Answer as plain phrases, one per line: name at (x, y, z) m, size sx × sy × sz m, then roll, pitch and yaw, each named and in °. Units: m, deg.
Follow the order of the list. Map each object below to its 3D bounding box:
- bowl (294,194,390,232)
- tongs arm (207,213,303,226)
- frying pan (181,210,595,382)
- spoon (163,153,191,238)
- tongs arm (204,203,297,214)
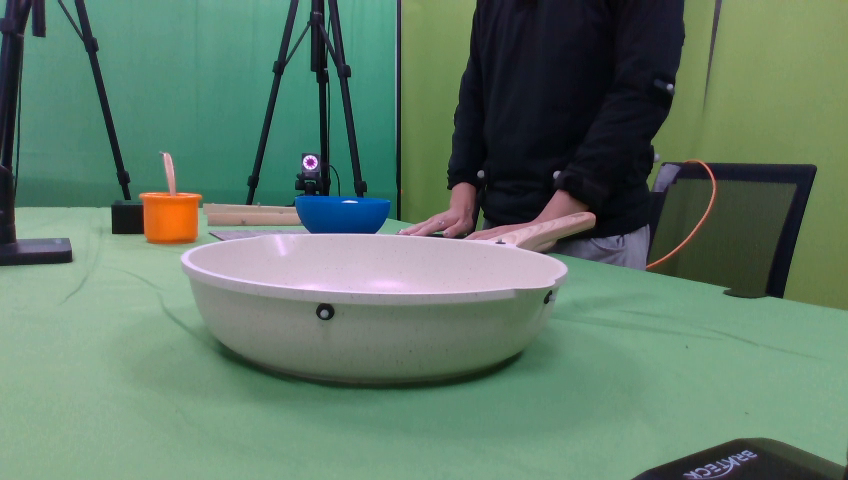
bowl at (-0.130, -0.029, 0.956) m, size 0.151 × 0.077 × 0.151 m, roll 3°, pitch 7°, yaw 0°
tongs arm at (-0.264, -0.046, 1.297) m, size 0.390 × 0.028 × 0.028 m, roll -2°, pitch 7°, yaw -32°
frying pan at (0.034, 0.019, 0.557) m, size 0.305 × 0.102 × 0.490 m, roll 10°, pitch 19°, yaw 42°
spoon at (-0.413, -0.077, 0.996) m, size 0.042 × 0.193 × 0.021 m, roll 2°, pitch -37°, yaw -31°
tongs arm at (-0.295, -0.062, 1.370) m, size 0.386 × 0.026 × 0.050 m, roll 1°, pitch 9°, yaw -19°
